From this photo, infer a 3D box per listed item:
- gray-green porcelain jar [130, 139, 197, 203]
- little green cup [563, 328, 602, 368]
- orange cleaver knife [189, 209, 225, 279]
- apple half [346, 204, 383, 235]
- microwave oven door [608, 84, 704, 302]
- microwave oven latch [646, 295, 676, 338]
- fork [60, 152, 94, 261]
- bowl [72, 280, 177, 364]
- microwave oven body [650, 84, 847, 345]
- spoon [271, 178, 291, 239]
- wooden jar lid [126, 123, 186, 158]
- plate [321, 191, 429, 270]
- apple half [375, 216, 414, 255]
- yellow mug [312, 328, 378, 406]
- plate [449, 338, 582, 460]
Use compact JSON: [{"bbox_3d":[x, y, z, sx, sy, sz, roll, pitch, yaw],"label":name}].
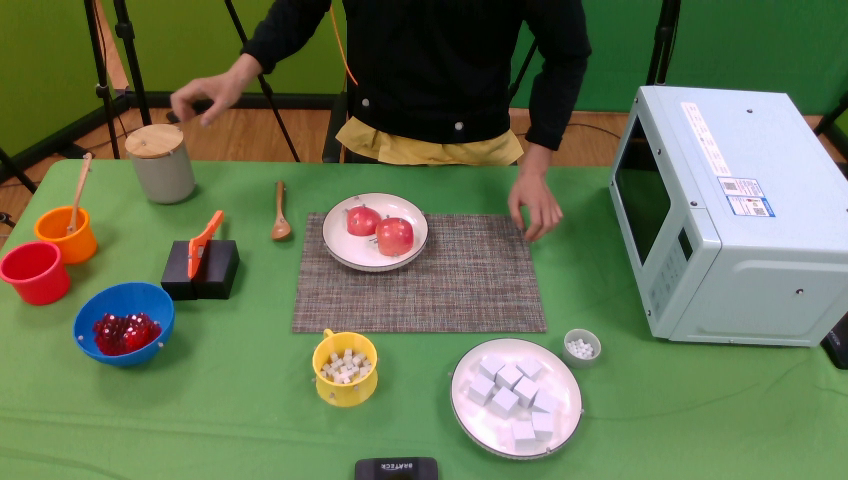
[{"bbox_3d":[-0.522,-0.148,1.225,0.106,0.127,0.105,2,47,-2],"label":"gray-green porcelain jar"},{"bbox_3d":[0.265,0.184,1.025,0.061,0.039,0.061,1,46,-1],"label":"little green cup"},{"bbox_3d":[-0.401,0.002,1.122,0.012,0.077,0.210,4,23,-4],"label":"orange cleaver knife"},{"bbox_3d":[-0.119,-0.049,1.207,0.081,0.033,0.081,2,50,-2],"label":"apple half"},{"bbox_3d":[0.424,-0.096,1.138,0.039,0.245,0.353,2,47,-1],"label":"microwave oven door"},{"bbox_3d":[0.412,0.133,1.060,0.030,0.029,0.078,3,46,0],"label":"microwave oven latch"},{"bbox_3d":[-0.638,-0.063,1.119,0.028,0.018,0.207,11,90,11],"label":"fork"},{"bbox_3d":[-0.473,0.147,0.982,0.151,0.077,0.150,2,46,-2],"label":"bowl"},{"bbox_3d":[0.569,-0.054,1.116,0.326,0.261,0.439,2,46,-1],"label":"microwave oven body"},{"bbox_3d":[-0.293,-0.069,1.237,0.041,0.022,0.192,-21,48,8],"label":"spoon"},{"bbox_3d":[-0.519,-0.190,1.179,0.108,0.021,0.107,2,44,-2],"label":"wooden jar lid"},{"bbox_3d":[-0.094,-0.015,1.185,0.209,0.038,0.208,2,46,-2],"label":"plate"},{"bbox_3d":[-0.056,-0.017,1.169,0.075,0.053,0.080,0,46,-7],"label":"apple half"},{"bbox_3d":[-0.132,0.193,0.971,0.100,0.064,0.130,-22,51,-22],"label":"yellow mug"},{"bbox_3d":[0.141,0.251,0.956,0.208,0.039,0.206,2,46,-2],"label":"plate"}]
